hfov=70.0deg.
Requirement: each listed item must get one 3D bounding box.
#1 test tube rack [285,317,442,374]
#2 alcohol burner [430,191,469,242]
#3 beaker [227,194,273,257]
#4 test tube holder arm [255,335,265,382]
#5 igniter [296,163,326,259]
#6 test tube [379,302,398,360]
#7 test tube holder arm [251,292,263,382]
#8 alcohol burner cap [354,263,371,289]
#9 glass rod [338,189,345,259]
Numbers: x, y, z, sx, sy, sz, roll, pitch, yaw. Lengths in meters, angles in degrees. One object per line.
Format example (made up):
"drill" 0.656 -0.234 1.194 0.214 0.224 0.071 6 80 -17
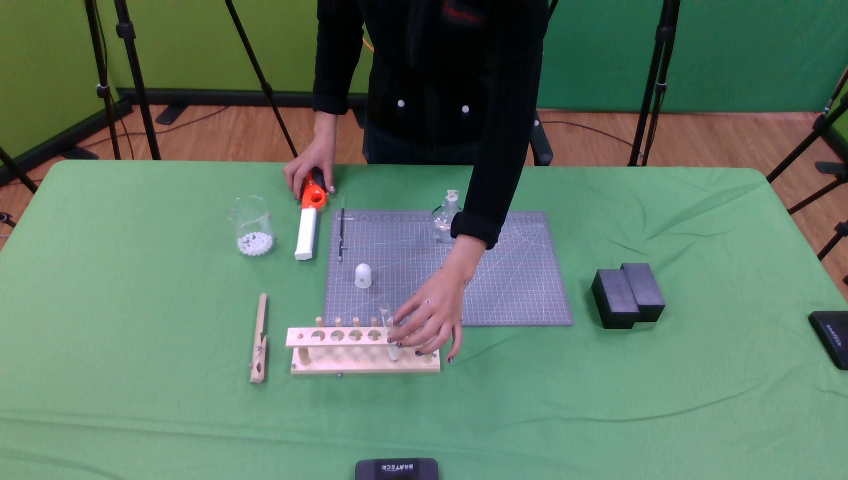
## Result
"test tube rack" -0.095 0.166 0.988 0.242 0.085 0.066 0 46 -4
"alcohol burner" 0.052 -0.053 1.185 0.078 0.119 0.077 2 48 -2
"beaker" -0.326 -0.022 1.142 0.074 0.101 0.083 10 47 6
"test tube holder arm" -0.270 0.193 0.997 0.010 0.015 0.087 24 36 -32
"igniter" -0.233 -0.068 1.242 0.057 0.025 0.274 -5 45 1
"test tube" -0.054 0.145 0.942 0.017 0.151 0.017 -2 49 3
"test tube holder arm" -0.282 0.159 1.025 0.013 0.015 0.177 23 36 -33
"alcohol burner cap" -0.113 0.063 1.112 0.034 0.048 0.033 2 46 -2
"glass rod" -0.166 -0.036 1.227 0.008 0.008 0.198 -1 46 -4
